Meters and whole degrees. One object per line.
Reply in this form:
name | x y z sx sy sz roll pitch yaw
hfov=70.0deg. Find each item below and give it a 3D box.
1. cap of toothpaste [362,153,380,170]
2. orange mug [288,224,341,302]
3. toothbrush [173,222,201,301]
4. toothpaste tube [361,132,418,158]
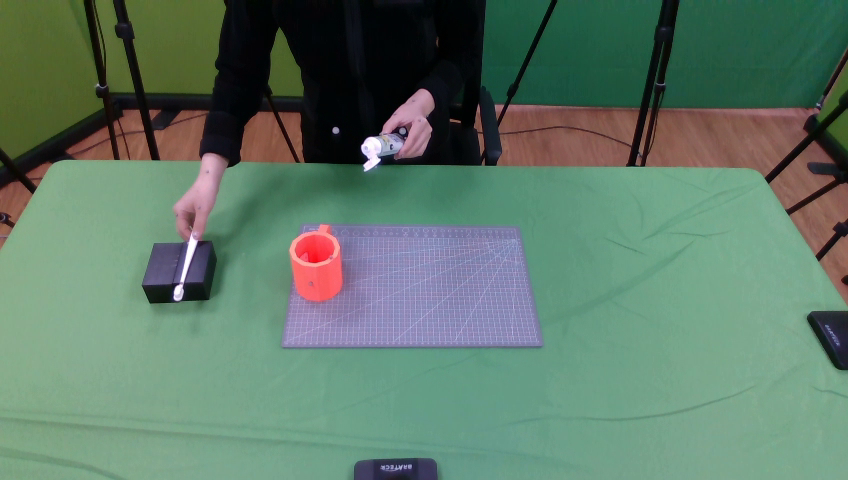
cap of toothpaste | -0.089 -0.131 1.005 0.037 0.011 0.037 -34 19 14
orange mug | -0.192 0.034 1.094 0.083 0.101 0.125 7 50 2
toothbrush | -0.417 0.032 1.070 0.014 0.017 0.180 2 46 -6
toothpaste tube | -0.064 -0.171 1.082 0.055 0.034 0.165 40 27 9
